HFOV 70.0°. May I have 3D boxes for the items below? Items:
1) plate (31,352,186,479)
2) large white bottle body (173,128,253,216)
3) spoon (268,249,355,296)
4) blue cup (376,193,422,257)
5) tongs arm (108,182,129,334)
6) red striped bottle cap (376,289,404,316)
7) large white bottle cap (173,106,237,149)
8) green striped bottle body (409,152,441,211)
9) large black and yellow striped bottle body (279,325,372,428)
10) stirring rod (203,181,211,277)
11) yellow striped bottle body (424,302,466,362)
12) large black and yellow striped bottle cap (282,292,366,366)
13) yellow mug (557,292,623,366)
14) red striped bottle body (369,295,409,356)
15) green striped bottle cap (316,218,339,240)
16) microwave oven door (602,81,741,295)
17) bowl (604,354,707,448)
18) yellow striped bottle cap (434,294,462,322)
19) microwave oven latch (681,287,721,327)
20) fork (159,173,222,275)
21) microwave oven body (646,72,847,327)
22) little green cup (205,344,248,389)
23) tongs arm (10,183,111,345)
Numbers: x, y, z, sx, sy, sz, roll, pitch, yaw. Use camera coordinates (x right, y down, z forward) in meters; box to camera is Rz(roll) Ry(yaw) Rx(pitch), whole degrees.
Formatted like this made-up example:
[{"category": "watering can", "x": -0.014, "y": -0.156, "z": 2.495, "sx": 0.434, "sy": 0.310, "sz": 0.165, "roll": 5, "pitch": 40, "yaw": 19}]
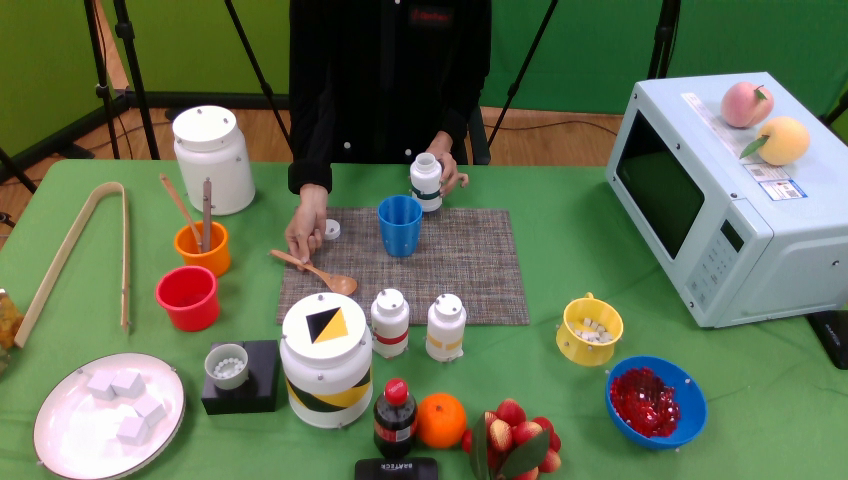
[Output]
[{"category": "plate", "x": -0.459, "y": 0.262, "z": 0.898, "sx": 0.209, "sy": 0.038, "sz": 0.208, "roll": 2, "pitch": 46, "yaw": -2}, {"category": "large white bottle body", "x": -0.416, "y": -0.154, "z": 1.199, "sx": 0.131, "sy": 0.185, "sz": 0.130, "roll": 2, "pitch": 46, "yaw": -2}, {"category": "spoon", "x": -0.210, "y": 0.055, "z": 1.119, "sx": 0.193, "sy": 0.022, "sz": 0.041, "roll": 26, "pitch": 64, "yaw": 15}, {"category": "blue cup", "x": -0.047, "y": -0.021, "z": 1.155, "sx": 0.093, "sy": 0.101, "sz": 0.092, "roll": 1, "pitch": 46, "yaw": -1}, {"category": "tongs arm", "x": -0.571, "y": 0.019, "z": 1.123, "sx": 0.051, "sy": 0.026, "sz": 0.382, "roll": -11, "pitch": 47, "yaw": -11}, {"category": "red striped bottle cap", "x": -0.054, "y": 0.098, "z": 0.958, "sx": 0.044, "sy": 0.018, "sz": 0.044, "roll": 0, "pitch": 48, "yaw": 1}, {"category": "large white bottle cap", "x": -0.411, "y": -0.212, "z": 1.138, "sx": 0.115, "sy": 0.018, "sz": 0.114, "roll": 2, "pitch": 47, "yaw": -2}, {"category": "green striped bottle body", "x": 0.002, "y": -0.119, "z": 1.215, "sx": 0.063, "sy": 0.120, "sz": 0.063, "roll": -1, "pitch": 50, "yaw": 2}, {"category": "large black and yellow striped bottle body", "x": -0.143, "y": 0.181, "z": 0.900, "sx": 0.131, "sy": 0.185, "sz": 0.130, "roll": 2, "pitch": 46, "yaw": -2}, {"category": "stirring rod", "x": -0.396, "y": -0.021, "z": 1.108, "sx": 0.014, "sy": 0.006, "sz": 0.176, "roll": -1, "pitch": 89, "yaw": -2}, {"category": "yellow striped bottle body", "x": 0.035, "y": 0.143, "z": 0.995, "sx": 0.063, "sy": 0.121, "sz": 0.062, "roll": 3, "pitch": 46, "yaw": -3}, {"category": "large black and yellow striped bottle cap", "x": -0.138, "y": 0.121, "z": 0.841, "sx": 0.115, "sy": 0.019, "sz": 0.114, "roll": 3, "pitch": 47, "yaw": -3}, {"category": "yellow mug", "x": 0.285, "y": 0.145, "z": 1.051, "sx": 0.100, "sy": 0.064, "sz": 0.130, "roll": 7, "pitch": 46, "yaw": 4}, {"category": "red striped bottle body", "x": -0.059, "y": 0.134, "z": 0.997, "sx": 0.063, "sy": 0.120, "sz": 0.062, "roll": 4, "pitch": 47, "yaw": -5}, {"category": "green striped bottle cap", "x": -0.192, "y": -0.022, "z": 1.203, "sx": 0.044, "sy": 0.020, "sz": 0.044, "roll": 2, "pitch": 50, "yaw": -2}, {"category": "microwave oven door", "x": 0.456, "y": -0.107, "z": 1.162, "sx": 0.039, "sy": 0.245, "sz": 0.353, "roll": -7, "pitch": 47, "yaw": -11}, {"category": "bowl", "x": 0.346, "y": 0.261, "z": 0.937, "sx": 0.151, "sy": 0.077, "sz": 0.150, "roll": 2, "pitch": 46, "yaw": -2}, {"category": "yellow striped bottle cap", "x": 0.038, "y": 0.107, "z": 0.958, "sx": 0.044, "sy": 0.019, "sz": 0.044, "roll": 2, "pitch": 45, "yaw": -2}, {"category": "microwave oven latch", "x": 0.494, "y": 0.119, "z": 1.087, "sx": 0.030, "sy": 0.029, "sz": 0.078, "roll": -5, "pitch": 46, "yaw": -9}, {"category": "fork", "x": -0.427, "y": -0.029, "z": 1.103, "sx": 0.028, "sy": 0.018, "sz": 0.207, "roll": -31, "pitch": 99, "yaw": -31}, {"category": "microwave oven body", "x": 0.607, "y": -0.089, "z": 1.164, "sx": 0.326, "sy": 0.261, "sz": 0.438, "roll": -7, "pitch": 46, "yaw": -10}, {"category": "little green cup", "x": -0.293, "y": 0.191, "z": 0.909, "sx": 0.061, "sy": 0.039, "sz": 0.061, "roll": 1, "pitch": 47, "yaw": -1}, {"category": "tongs arm", "x": -0.658, "y": 0.027, "z": 1.109, "sx": 0.028, "sy": 0.028, "sz": 0.385, "roll": -2, "pitch": 45, "yaw": 2}]
